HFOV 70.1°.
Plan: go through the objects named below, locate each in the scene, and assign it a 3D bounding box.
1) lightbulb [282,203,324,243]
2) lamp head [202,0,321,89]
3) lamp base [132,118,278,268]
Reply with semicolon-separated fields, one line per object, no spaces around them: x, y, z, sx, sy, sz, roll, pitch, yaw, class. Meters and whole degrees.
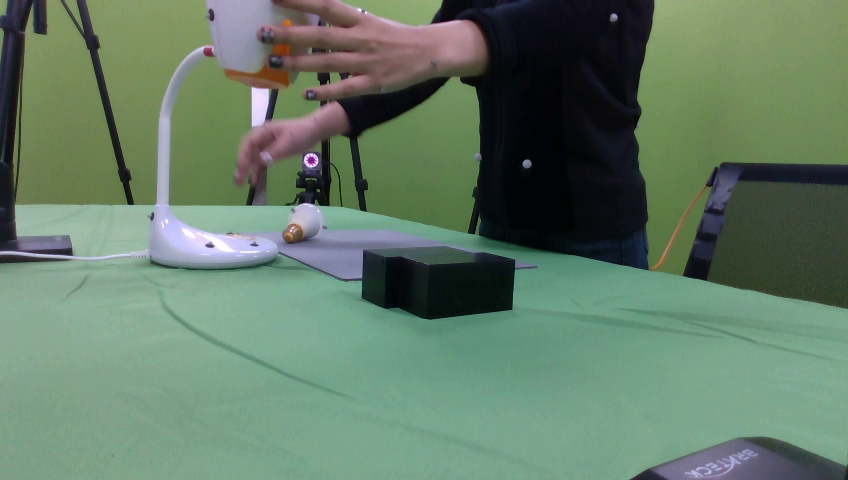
-0.203;-0.023;0.993;0.059;0.059;0.108;3;23;12;lightbulb
-0.157;-0.205;0.567;0.112;0.123;0.112;10;10;-2;lamp head
-0.278;-0.063;0.767;0.160;0.180;0.180;12;15;42;lamp base
